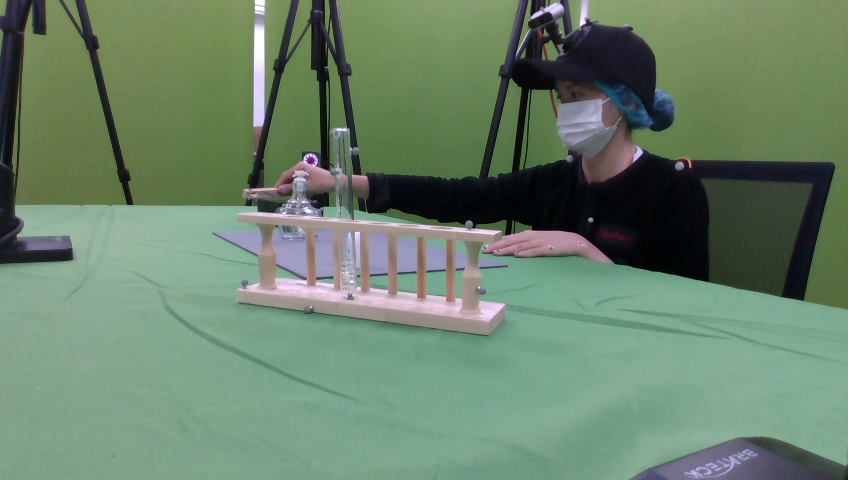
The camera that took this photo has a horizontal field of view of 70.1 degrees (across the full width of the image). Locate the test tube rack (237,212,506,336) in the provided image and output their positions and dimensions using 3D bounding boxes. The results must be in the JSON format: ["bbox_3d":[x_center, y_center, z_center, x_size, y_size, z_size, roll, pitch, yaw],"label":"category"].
[{"bbox_3d":[-0.049,0.024,0.552,0.242,0.085,0.067,5,8,18],"label":"test tube rack"}]

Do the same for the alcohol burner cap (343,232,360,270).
[{"bbox_3d":[-0.087,0.013,0.777,0.034,0.048,0.034,3,7,0],"label":"alcohol burner cap"}]

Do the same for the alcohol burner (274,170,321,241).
[{"bbox_3d":[-0.212,-0.058,1.015,0.078,0.119,0.078,4,5,0],"label":"alcohol burner"}]

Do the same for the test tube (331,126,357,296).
[{"bbox_3d":[-0.070,-0.025,0.534,0.017,0.150,0.017,-2,8,1],"label":"test tube"}]

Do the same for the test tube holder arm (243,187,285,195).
[{"bbox_3d":[-0.321,-0.098,1.218,0.088,0.010,0.015,-8,36,-41],"label":"test tube holder arm"}]

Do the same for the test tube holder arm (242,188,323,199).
[{"bbox_3d":[-0.289,-0.098,1.251,0.179,0.013,0.015,-7,36,-42],"label":"test tube holder arm"}]
